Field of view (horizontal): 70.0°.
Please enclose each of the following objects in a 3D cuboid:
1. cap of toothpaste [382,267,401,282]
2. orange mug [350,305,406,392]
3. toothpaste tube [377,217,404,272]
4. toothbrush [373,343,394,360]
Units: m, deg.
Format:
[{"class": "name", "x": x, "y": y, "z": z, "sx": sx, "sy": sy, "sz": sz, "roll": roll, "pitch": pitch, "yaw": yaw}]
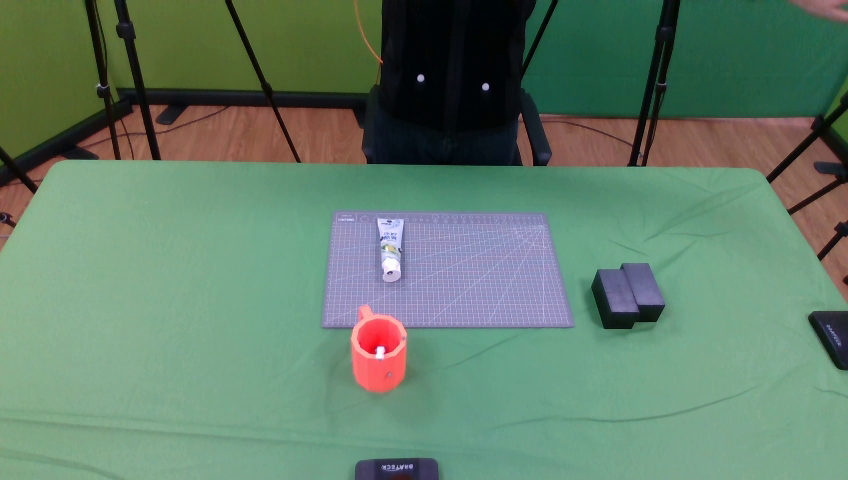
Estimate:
[{"class": "cap of toothpaste", "x": -0.060, "y": 0.063, "z": 1.119, "sx": 0.037, "sy": 0.037, "sz": 0.011, "roll": -9, "pitch": 50, "yaw": -12}, {"class": "orange mug", "x": -0.080, "y": 0.168, "z": 0.978, "sx": 0.083, "sy": 0.101, "sz": 0.125, "roll": -16, "pitch": 54, "yaw": -18}, {"class": "toothpaste tube", "x": -0.063, "y": 0.008, "z": 1.179, "sx": 0.055, "sy": 0.034, "sz": 0.164, "roll": 5, "pitch": 42, "yaw": -9}, {"class": "toothbrush", "x": -0.061, "y": 0.166, "z": 0.925, "sx": 0.014, "sy": 0.182, "sz": 0.016, "roll": -20, "pitch": 84, "yaw": 1}]
